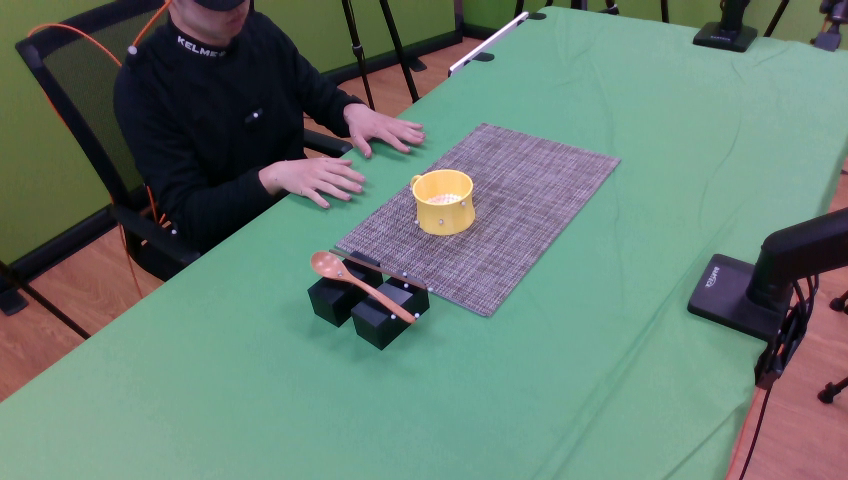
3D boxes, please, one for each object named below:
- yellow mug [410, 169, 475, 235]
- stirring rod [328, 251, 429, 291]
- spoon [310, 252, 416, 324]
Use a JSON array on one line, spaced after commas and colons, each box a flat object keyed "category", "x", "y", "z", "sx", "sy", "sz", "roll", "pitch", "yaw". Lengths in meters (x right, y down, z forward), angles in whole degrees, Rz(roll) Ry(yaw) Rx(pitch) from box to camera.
[{"category": "yellow mug", "x": 0.022, "y": -0.070, "z": 1.007, "sx": 0.129, "sy": 0.064, "sz": 0.100, "roll": 29, "pitch": 52, "yaw": 36}, {"category": "stirring rod", "x": -0.068, "y": 0.042, "z": 0.860, "sx": 0.175, "sy": 0.006, "sz": 0.014, "roll": 18, "pitch": 13, "yaw": 28}, {"category": "spoon", "x": -0.086, "y": 0.065, "z": 0.830, "sx": 0.192, "sy": 0.022, "sz": 0.042, "roll": 28, "pitch": 46, "yaw": 32}]
